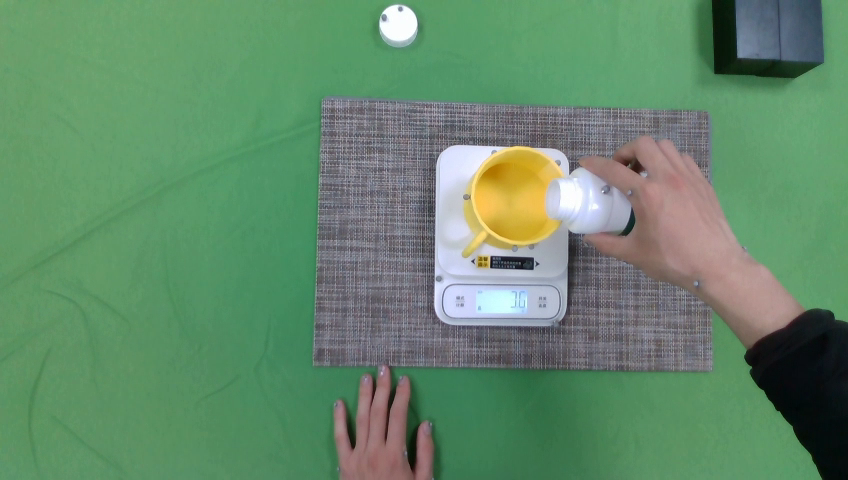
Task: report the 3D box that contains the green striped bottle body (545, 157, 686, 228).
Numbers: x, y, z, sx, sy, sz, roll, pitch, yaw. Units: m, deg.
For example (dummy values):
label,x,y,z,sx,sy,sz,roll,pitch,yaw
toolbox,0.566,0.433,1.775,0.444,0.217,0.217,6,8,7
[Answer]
label,x,y,z,sx,sy,sz,roll,pitch,yaw
green striped bottle body,0.177,-0.044,0.570,0.119,0.063,0.063,2,86,-11

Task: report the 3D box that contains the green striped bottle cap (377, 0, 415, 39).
label,x,y,z,sx,sy,sz,roll,pitch,yaw
green striped bottle cap,-0.032,-0.255,0.693,0.044,0.020,0.044,0,89,-3

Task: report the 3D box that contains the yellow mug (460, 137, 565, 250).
label,x,y,z,sx,sy,sz,roll,pitch,yaw
yellow mug,0.082,-0.039,0.626,0.100,0.064,0.131,41,86,-1

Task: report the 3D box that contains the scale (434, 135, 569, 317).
label,x,y,z,sx,sy,sz,roll,pitch,yaw
scale,0.086,-0.015,0.672,0.149,0.031,0.200,1,87,-2
